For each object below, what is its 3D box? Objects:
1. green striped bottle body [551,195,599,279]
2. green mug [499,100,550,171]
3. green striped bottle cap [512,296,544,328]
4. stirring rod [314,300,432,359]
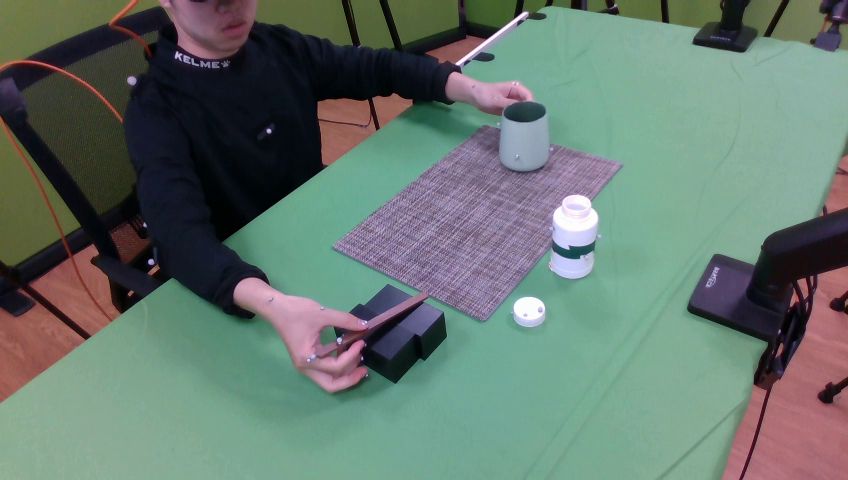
[{"bbox_3d":[0.217,-0.006,0.870,0.063,0.120,0.063,-4,41,4],"label":"green striped bottle body"},{"bbox_3d":[0.183,-0.197,1.101,0.092,0.105,0.125,-1,41,8],"label":"green mug"},{"bbox_3d":[0.144,0.099,0.837,0.044,0.020,0.044,-1,43,2],"label":"green striped bottle cap"},{"bbox_3d":[-0.061,0.112,0.771,0.177,0.006,0.014,-22,16,-31],"label":"stirring rod"}]
